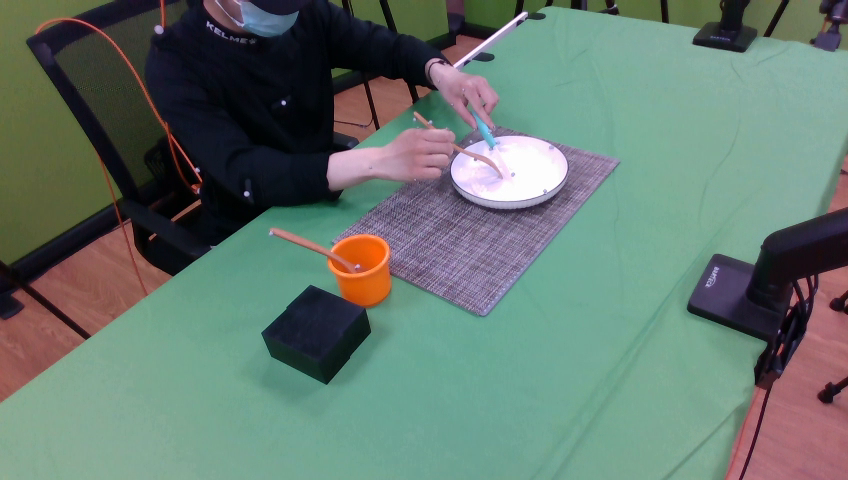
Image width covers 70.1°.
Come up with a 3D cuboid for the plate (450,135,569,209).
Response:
[{"bbox_3d":[0.149,-0.117,1.065,0.209,0.038,0.208,-4,41,4],"label":"plate"}]

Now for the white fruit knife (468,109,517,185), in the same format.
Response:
[{"bbox_3d":[0.126,-0.174,1.107,0.016,0.027,0.206,-15,55,-14],"label":"white fruit knife"}]

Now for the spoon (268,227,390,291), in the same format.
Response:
[{"bbox_3d":[-0.132,0.025,0.862,0.021,0.195,0.041,-40,32,33],"label":"spoon"}]

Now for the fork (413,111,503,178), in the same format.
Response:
[{"bbox_3d":[0.061,-0.161,1.027,0.209,0.018,0.028,27,27,-28],"label":"fork"}]
